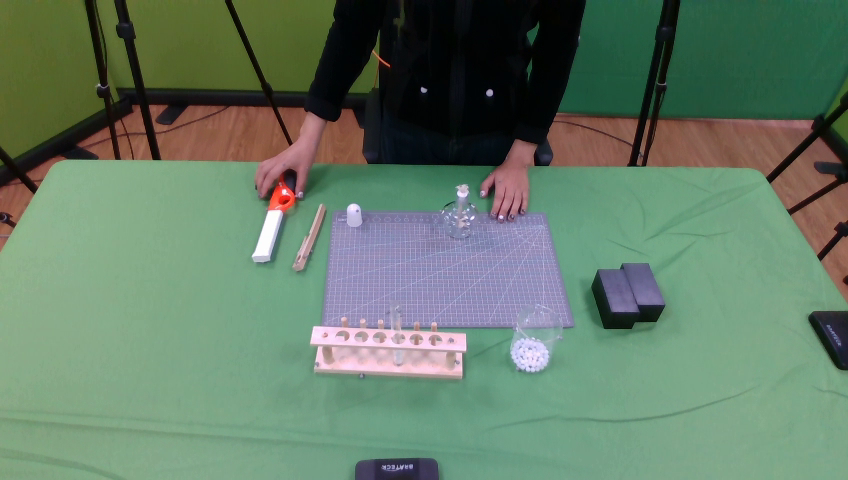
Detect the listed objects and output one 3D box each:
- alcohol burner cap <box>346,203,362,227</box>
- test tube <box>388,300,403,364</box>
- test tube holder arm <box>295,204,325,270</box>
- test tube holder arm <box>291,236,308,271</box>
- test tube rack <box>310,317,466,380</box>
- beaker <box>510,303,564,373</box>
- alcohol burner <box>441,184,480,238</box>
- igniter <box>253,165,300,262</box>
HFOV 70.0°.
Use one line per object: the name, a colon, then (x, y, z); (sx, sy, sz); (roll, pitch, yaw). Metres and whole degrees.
alcohol burner cap: (-0.141, -0.053, 1.222); (0.034, 0.048, 0.033); (2, 47, -2)
test tube: (-0.044, 0.146, 0.942); (0.017, 0.151, 0.017); (-1, 44, 1)
test tube holder arm: (-0.222, -0.009, 1.192); (0.013, 0.015, 0.177); (-18, 38, 27)
test tube holder arm: (-0.234, 0.024, 1.163); (0.010, 0.015, 0.087); (-17, 38, 29)
test tube rack: (-0.056, 0.171, 0.987); (0.242, 0.085, 0.066); (3, 45, -1)
beaker: (0.182, 0.164, 1.000); (0.074, 0.101, 0.083); (2, 46, -1)
alcohol burner: (0.073, -0.061, 1.195); (0.078, 0.120, 0.077); (1, 47, -1)
igniter: (-0.298, -0.063, 1.234); (0.057, 0.025, 0.275); (-2, 45, 7)
